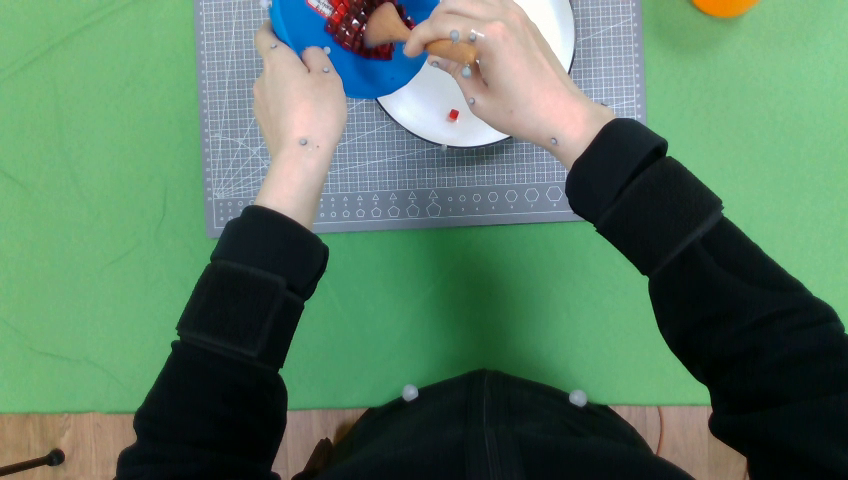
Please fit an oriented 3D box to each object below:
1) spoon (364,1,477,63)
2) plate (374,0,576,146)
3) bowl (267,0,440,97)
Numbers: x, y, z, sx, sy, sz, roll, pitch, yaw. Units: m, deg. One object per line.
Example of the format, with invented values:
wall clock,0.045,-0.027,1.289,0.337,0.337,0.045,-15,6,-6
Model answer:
spoon,-0.006,-0.150,0.446,0.022,0.191,0.041,28,99,-36
plate,0.041,-0.194,0.591,0.209,0.038,0.209,0,91,3
bowl,-0.069,-0.198,0.500,0.152,0.076,0.152,-14,114,-35
